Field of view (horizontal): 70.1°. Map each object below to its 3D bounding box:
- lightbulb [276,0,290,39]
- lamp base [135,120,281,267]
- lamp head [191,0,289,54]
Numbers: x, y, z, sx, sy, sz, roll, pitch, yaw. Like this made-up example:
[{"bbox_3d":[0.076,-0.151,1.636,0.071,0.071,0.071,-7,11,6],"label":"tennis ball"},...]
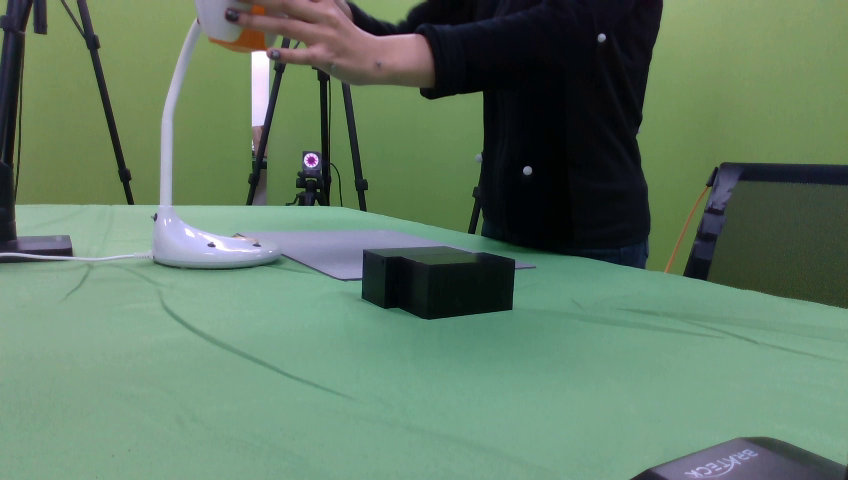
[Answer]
[{"bbox_3d":[-0.206,-0.329,0.831,0.059,0.107,0.059,-8,-8,-1],"label":"lightbulb"},{"bbox_3d":[-0.276,-0.061,0.773,0.180,0.180,0.160,-9,13,-44],"label":"lamp base"},{"bbox_3d":[-0.188,-0.252,0.608,0.112,0.123,0.112,10,20,-3],"label":"lamp head"}]
